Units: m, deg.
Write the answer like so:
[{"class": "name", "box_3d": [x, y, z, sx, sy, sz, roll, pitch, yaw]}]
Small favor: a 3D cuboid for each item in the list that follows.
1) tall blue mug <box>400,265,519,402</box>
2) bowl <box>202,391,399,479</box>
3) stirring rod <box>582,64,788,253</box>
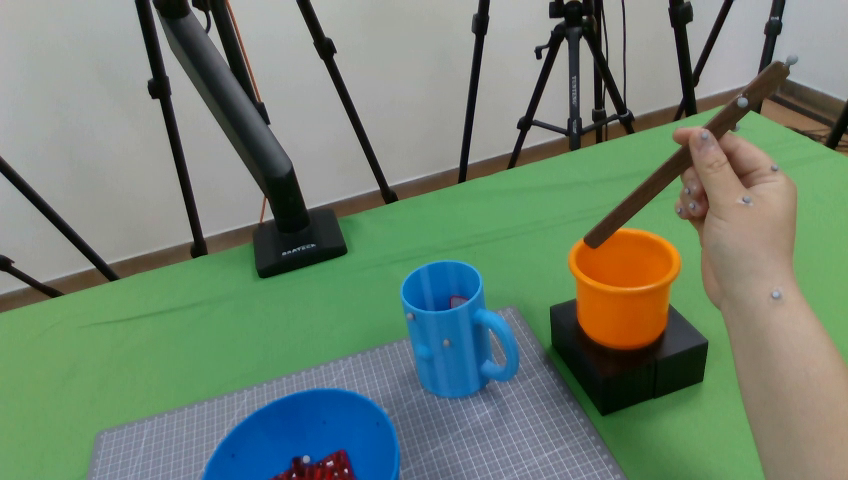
[{"class": "tall blue mug", "box_3d": [0.038, 0.089, 0.571, 0.107, 0.109, 0.077, 0, 34, 14]}, {"class": "bowl", "box_3d": [-0.087, 0.200, 0.468, 0.151, 0.077, 0.150, -7, 34, 5]}, {"class": "stirring rod", "box_3d": [0.175, -0.051, 0.424, 0.014, 0.176, 0.006, 36, 30, -9]}]
